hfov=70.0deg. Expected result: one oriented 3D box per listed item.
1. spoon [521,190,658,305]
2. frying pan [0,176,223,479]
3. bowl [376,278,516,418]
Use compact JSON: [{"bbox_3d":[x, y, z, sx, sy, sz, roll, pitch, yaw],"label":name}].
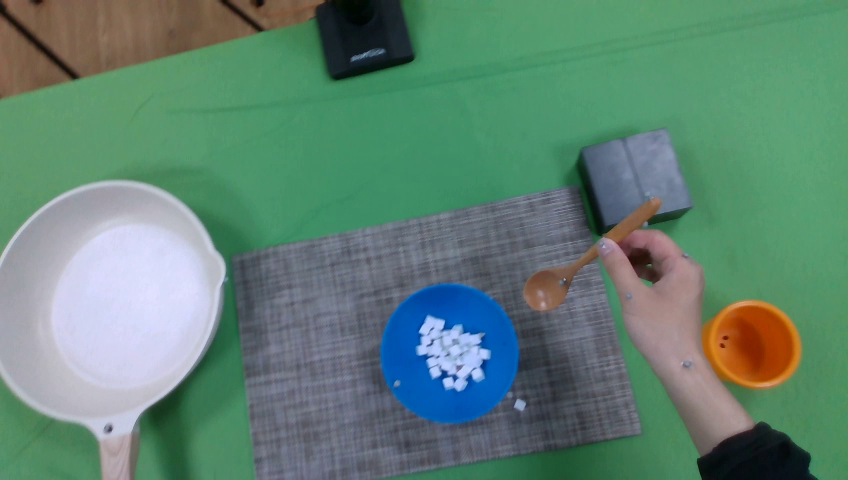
[{"bbox_3d":[0.149,0.012,0.565,0.021,0.194,0.041,-33,79,-35],"label":"spoon"},{"bbox_3d":[-0.362,0.163,0.707,0.307,0.103,0.484,-13,69,3],"label":"frying pan"},{"bbox_3d":[0.028,0.122,0.687,0.151,0.077,0.150,-1,78,6],"label":"bowl"}]
